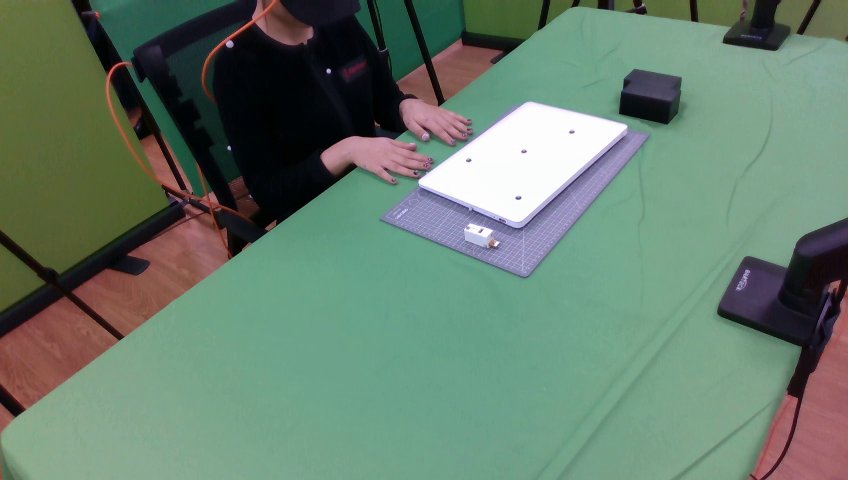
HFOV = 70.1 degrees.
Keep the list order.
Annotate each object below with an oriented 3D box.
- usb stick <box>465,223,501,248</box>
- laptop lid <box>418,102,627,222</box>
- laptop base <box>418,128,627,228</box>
[{"bbox_3d":[0.094,-0.005,0.962,0.059,0.027,0.021,23,49,29],"label":"usb stick"},{"bbox_3d":[0.185,-0.161,1.121,0.239,0.013,0.358,26,51,37],"label":"laptop lid"},{"bbox_3d":[0.189,-0.151,1.127,0.233,0.023,0.355,24,50,37],"label":"laptop base"}]
